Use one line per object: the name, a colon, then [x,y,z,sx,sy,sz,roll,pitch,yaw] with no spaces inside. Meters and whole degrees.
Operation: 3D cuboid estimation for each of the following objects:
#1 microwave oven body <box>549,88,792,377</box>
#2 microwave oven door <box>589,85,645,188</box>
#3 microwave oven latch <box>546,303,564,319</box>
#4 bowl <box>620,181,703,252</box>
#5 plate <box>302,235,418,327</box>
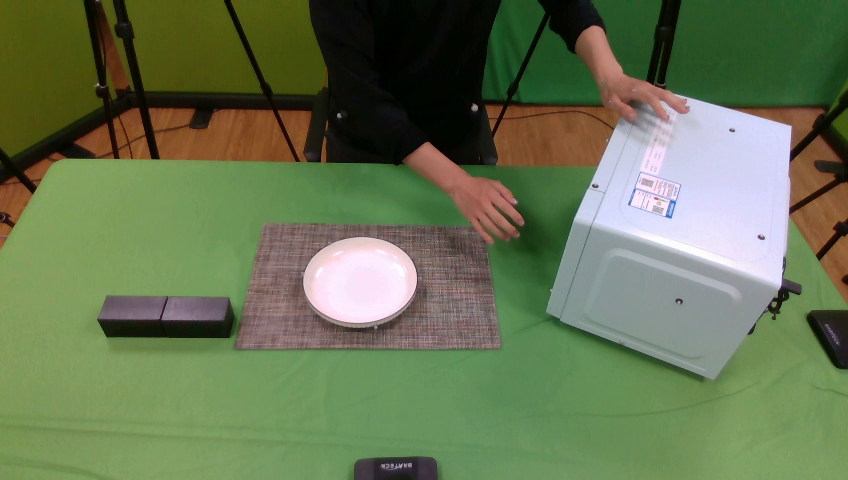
microwave oven body: [0.456,-0.028,1.088,0.325,0.261,0.440,20,47,16]
microwave oven door: [0.342,-0.107,1.149,0.039,0.245,0.354,20,48,15]
microwave oven latch: [0.242,0.102,1.081,0.030,0.029,0.079,22,48,17]
bowl: [0.433,-0.031,1.140,0.151,0.077,0.150,4,49,-4]
plate: [-0.114,0.077,1.098,0.208,0.039,0.206,2,46,-2]
